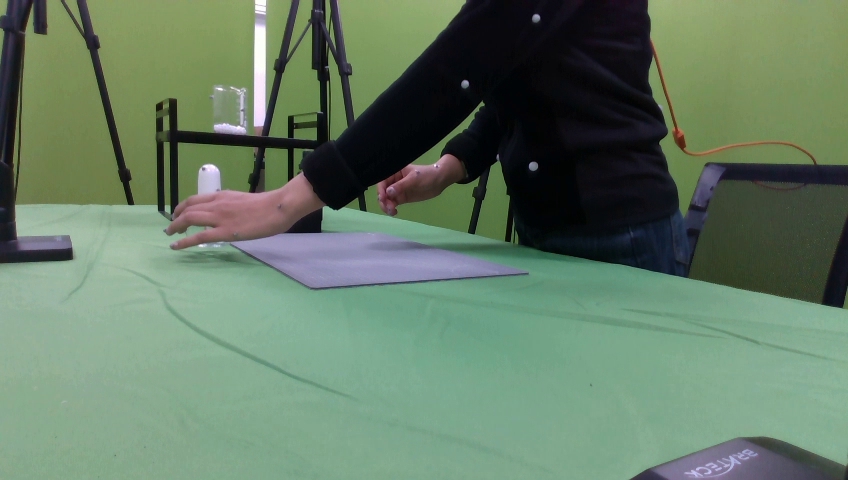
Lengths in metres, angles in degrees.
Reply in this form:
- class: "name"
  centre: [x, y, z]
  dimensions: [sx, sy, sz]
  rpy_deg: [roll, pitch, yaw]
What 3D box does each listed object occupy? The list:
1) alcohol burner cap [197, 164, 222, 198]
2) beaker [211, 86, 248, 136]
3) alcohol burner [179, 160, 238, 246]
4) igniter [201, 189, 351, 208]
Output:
- class: "alcohol burner cap"
  centre: [-0.297, -0.081, 0.839]
  dimensions: [0.034, 0.048, 0.034]
  rpy_deg: [0, 7, 0]
- class: "beaker"
  centre: [-0.414, -0.274, 1.297]
  dimensions: [0.074, 0.100, 0.083]
  rpy_deg: [-5, 11, -44]
- class: "alcohol burner"
  centre: [-0.300, -0.052, 0.844]
  dimensions: [0.078, 0.119, 0.078]
  rpy_deg: [1, 6, 0]
- class: "igniter"
  centre: [-0.272, -0.078, 1.138]
  dimensions: [0.278, 0.025, 0.057]
  rpy_deg: [-5, 10, -28]
